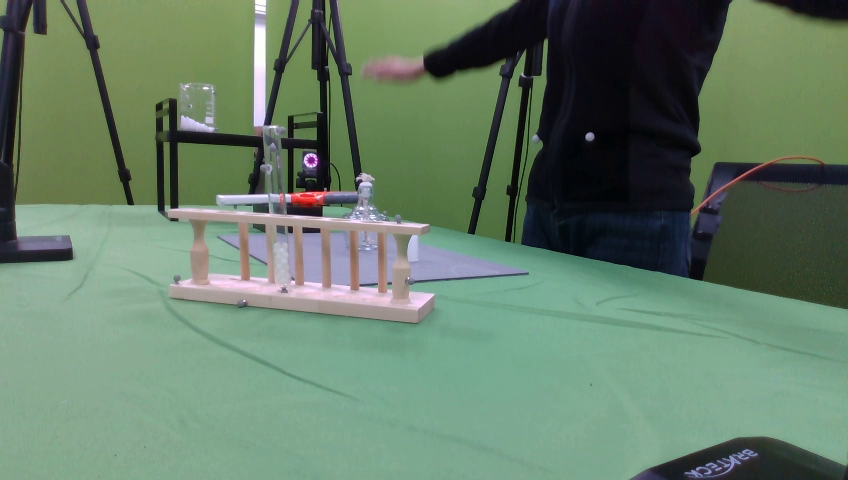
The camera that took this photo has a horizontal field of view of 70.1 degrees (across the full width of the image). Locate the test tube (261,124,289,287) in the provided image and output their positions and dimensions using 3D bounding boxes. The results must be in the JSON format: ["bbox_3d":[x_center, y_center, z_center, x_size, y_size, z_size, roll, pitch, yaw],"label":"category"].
[{"bbox_3d":[-0.136,-0.030,0.554,0.017,0.150,0.017,-2,10,1],"label":"test tube"}]

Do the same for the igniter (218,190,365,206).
[{"bbox_3d":[-0.247,-0.080,1.155,0.278,0.025,0.057,-4,12,-26],"label":"igniter"}]

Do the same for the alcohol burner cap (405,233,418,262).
[{"bbox_3d":[-0.024,0.006,0.847,0.034,0.048,0.034,3,9,0],"label":"alcohol burner cap"}]

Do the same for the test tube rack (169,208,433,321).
[{"bbox_3d":[-0.115,0.018,0.574,0.242,0.085,0.067,4,8,13],"label":"test tube rack"}]

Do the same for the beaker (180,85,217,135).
[{"bbox_3d":[-0.478,-0.275,1.279,0.074,0.100,0.084,4,8,15],"label":"beaker"}]

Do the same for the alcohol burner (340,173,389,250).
[{"bbox_3d":[-0.093,-0.045,0.939,0.078,0.119,0.078,0,7,0],"label":"alcohol burner"}]
